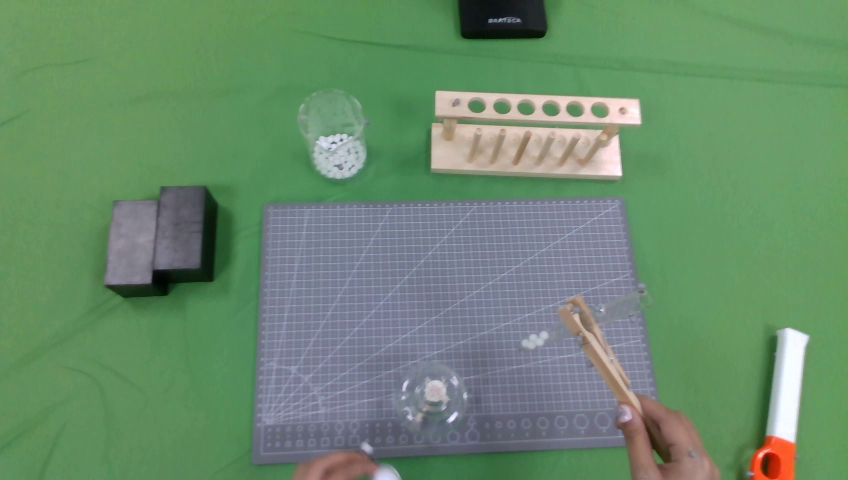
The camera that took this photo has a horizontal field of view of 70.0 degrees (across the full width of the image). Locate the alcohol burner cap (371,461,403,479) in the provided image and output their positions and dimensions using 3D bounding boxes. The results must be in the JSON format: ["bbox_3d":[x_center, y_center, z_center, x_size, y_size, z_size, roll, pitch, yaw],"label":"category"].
[{"bbox_3d":[-0.037,0.233,0.585,0.034,0.048,0.033,0,76,1],"label":"alcohol burner cap"}]

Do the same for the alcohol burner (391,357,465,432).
[{"bbox_3d":[0.005,0.156,0.621,0.078,0.119,0.077,2,70,-4],"label":"alcohol burner"}]

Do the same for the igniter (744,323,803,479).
[{"bbox_3d":[0.386,0.225,0.669,0.057,0.025,0.275,22,71,-6],"label":"igniter"}]

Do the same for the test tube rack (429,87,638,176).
[{"bbox_3d":[0.130,-0.132,0.746,0.242,0.085,0.066,2,71,-3],"label":"test tube rack"}]

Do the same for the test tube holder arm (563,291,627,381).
[{"bbox_3d":[0.146,0.084,0.517,0.010,0.015,0.088,-29,91,-37],"label":"test tube holder arm"}]

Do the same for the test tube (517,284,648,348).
[{"bbox_3d":[0.128,0.068,0.517,0.017,0.150,0.017,14,61,-26],"label":"test tube"}]

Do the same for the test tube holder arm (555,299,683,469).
[{"bbox_3d":[0.167,0.124,0.516,0.013,0.015,0.178,-38,96,-36],"label":"test tube holder arm"}]

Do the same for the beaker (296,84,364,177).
[{"bbox_3d":[-0.108,-0.123,0.721,0.074,0.101,0.083,1,71,-3],"label":"beaker"}]
